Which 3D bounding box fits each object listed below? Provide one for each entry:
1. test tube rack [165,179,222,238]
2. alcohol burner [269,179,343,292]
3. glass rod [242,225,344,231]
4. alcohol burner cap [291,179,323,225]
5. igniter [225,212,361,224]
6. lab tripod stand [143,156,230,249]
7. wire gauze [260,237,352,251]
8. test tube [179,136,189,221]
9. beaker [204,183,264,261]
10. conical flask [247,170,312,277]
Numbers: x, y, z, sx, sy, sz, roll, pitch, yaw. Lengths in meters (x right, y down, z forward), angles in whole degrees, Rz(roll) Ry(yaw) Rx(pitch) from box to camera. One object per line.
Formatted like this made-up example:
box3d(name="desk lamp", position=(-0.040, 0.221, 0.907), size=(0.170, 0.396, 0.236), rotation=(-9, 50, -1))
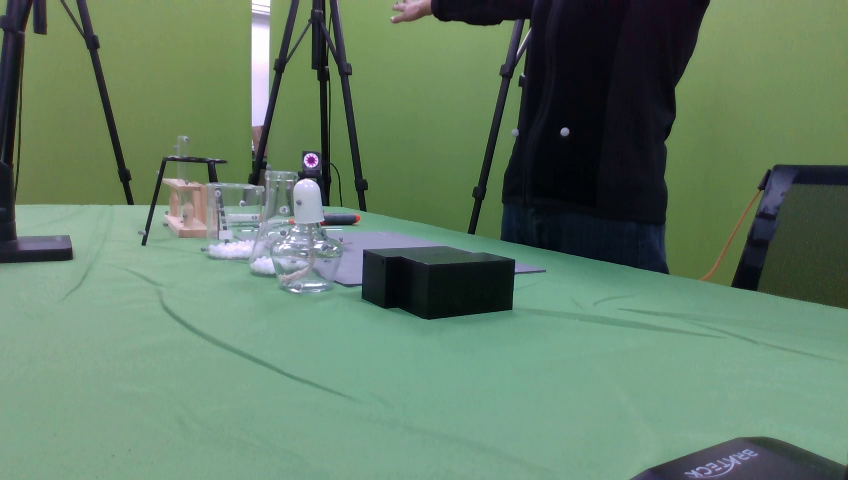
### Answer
box3d(name="test tube rack", position=(-0.423, -0.062, 1.098), size=(0.067, 0.085, 0.241), rotation=(-2, 9, -28))
box3d(name="alcohol burner", position=(-0.124, -0.005, 0.637), size=(0.078, 0.119, 0.078), rotation=(4, 8, 0))
box3d(name="glass rod", position=(-0.246, -0.023, 1.155), size=(0.201, 0.008, 0.008), rotation=(-2, 8, -31))
box3d(name="alcohol burner cap", position=(-0.124, -0.040, 0.632), size=(0.034, 0.048, 0.034), rotation=(-3, 10, 1))
box3d(name="igniter", position=(-0.262, -0.044, 1.240), size=(0.278, 0.025, 0.057), rotation=(-2, -1, -31))
box3d(name="lab tripod stand", position=(-0.338, -0.058, 0.908), size=(0.148, 0.131, 0.148), rotation=(4, 7, 0))
box3d(name="wire gauze", position=(-0.184, 0.004, 0.938), size=(0.122, 0.011, 0.124), rotation=(-1, 5, -24))
box3d(name="test tube", position=(-0.425, -0.108, 1.070), size=(0.017, 0.150, 0.017), rotation=(4, 9, 0))
box3d(name="beaker", position=(-0.254, -0.026, 0.817), size=(0.073, 0.100, 0.084), rotation=(9, 9, 39))
box3d(name="conical flask", position=(-0.170, -0.021, 0.717), size=(0.075, 0.122, 0.075), rotation=(2, 7, 0))
